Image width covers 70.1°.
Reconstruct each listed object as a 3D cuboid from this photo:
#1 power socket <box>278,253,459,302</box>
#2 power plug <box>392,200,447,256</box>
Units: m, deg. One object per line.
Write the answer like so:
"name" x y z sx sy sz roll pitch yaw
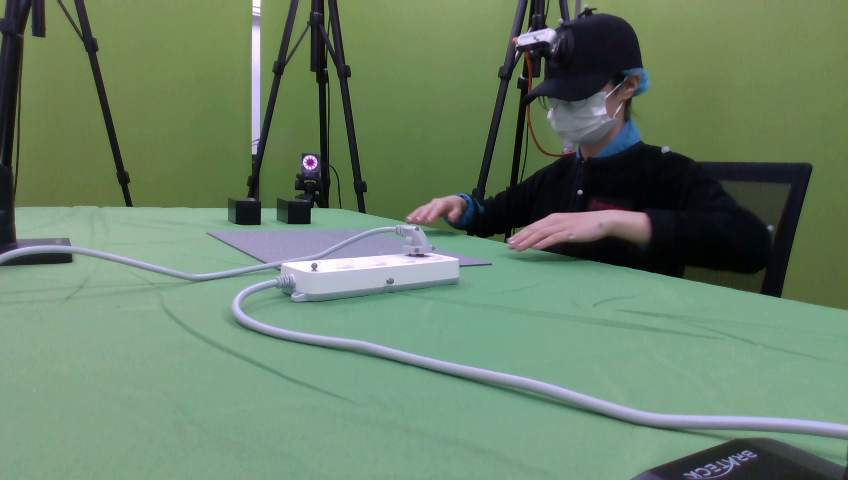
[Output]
"power socket" -0.055 0.037 0.675 0.228 0.032 0.072 -4 8 -40
"power plug" -0.007 -0.017 0.725 0.053 0.072 0.035 16 -10 -21
